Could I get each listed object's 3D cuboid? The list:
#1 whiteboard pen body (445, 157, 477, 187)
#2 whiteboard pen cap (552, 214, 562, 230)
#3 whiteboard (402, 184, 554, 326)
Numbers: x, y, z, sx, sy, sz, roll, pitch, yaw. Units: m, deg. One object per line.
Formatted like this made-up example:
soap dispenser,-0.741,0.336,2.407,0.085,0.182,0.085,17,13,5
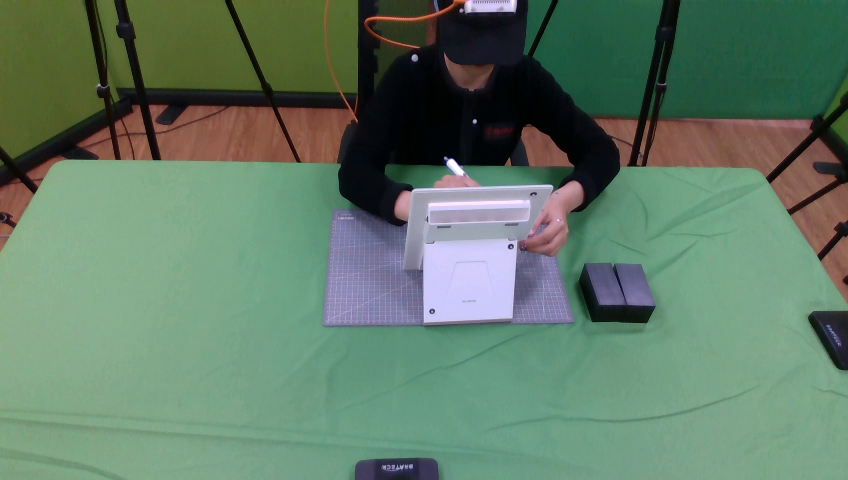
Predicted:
whiteboard pen body,0.077,-0.095,1.026,0.017,0.017,0.140,-22,53,-22
whiteboard pen cap,0.275,-0.037,1.260,0.018,0.018,0.033,1,44,-2
whiteboard,0.081,0.044,1.005,0.217,0.306,0.143,-1,66,-6
